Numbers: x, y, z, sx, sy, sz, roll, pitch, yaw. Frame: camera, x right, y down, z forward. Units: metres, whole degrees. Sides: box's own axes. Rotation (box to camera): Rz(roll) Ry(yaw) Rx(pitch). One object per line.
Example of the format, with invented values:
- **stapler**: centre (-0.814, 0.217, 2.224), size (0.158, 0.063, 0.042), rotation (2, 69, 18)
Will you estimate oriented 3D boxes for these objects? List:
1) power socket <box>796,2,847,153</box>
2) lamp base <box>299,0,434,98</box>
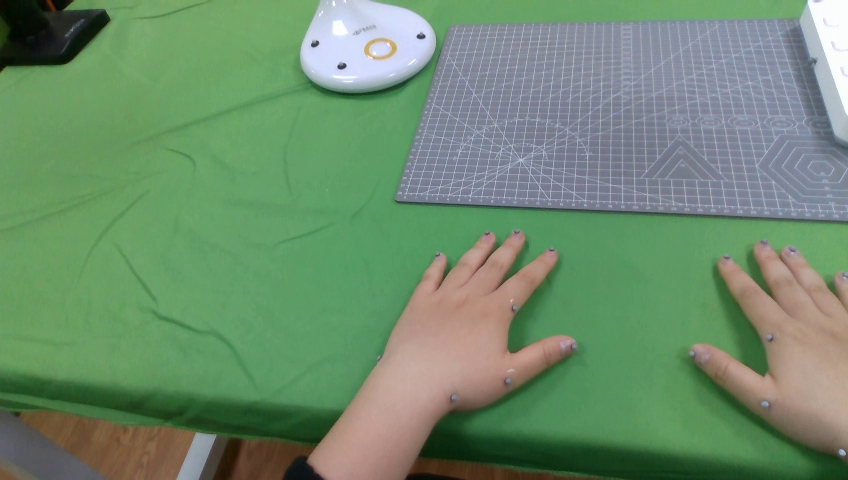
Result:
- **power socket**: centre (0.405, -0.158, 0.565), size (0.072, 0.033, 0.225), rotation (6, 50, 13)
- **lamp base**: centre (-0.086, -0.275, 0.661), size (0.160, 0.182, 0.177), rotation (-35, 49, -20)
